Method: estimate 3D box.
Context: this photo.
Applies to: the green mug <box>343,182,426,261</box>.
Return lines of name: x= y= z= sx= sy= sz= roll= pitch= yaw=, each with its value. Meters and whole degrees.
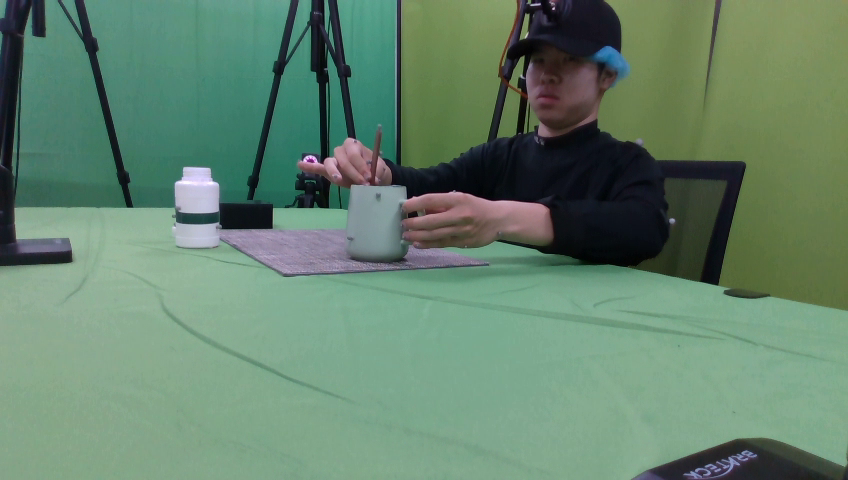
green mug: x=-0.053 y=-0.026 z=0.848 sx=0.125 sy=0.105 sz=0.093 roll=6 pitch=8 yaw=29

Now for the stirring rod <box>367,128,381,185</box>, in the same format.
stirring rod: x=-0.078 y=-0.071 z=0.856 sx=0.006 sy=0.176 sz=0.014 roll=5 pitch=8 yaw=-32

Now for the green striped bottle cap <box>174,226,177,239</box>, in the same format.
green striped bottle cap: x=-0.405 y=-0.015 z=1.036 sx=0.044 sy=0.020 sz=0.044 roll=-1 pitch=10 yaw=0

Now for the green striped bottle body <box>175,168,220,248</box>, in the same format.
green striped bottle body: x=-0.345 y=-0.050 z=0.924 sx=0.063 sy=0.119 sz=0.063 roll=2 pitch=7 yaw=0
